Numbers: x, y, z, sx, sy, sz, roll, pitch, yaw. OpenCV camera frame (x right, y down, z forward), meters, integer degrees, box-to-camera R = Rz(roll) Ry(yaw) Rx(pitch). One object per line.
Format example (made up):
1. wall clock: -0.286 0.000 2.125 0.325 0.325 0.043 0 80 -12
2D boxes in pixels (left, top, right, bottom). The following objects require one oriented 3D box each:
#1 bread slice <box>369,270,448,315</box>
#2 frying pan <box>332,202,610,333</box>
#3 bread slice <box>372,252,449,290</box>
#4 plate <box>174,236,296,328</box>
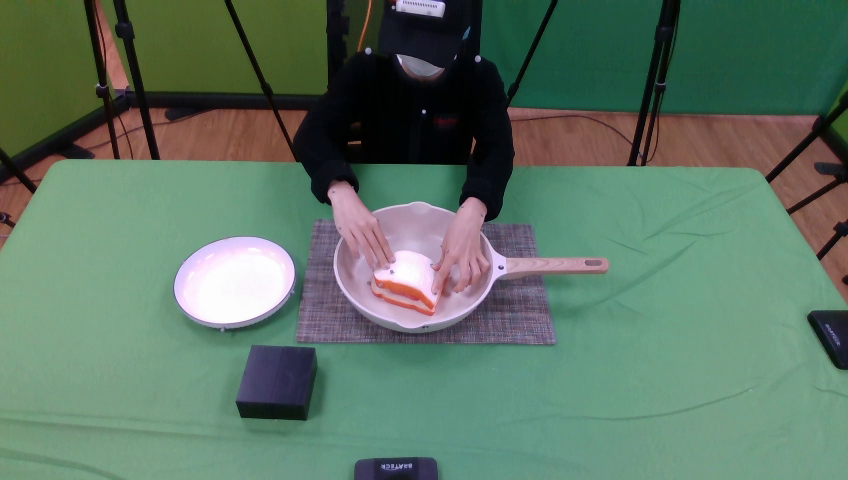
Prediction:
1. bread slice: -0.032 0.083 1.110 0.134 0.018 0.106 12 44 6
2. frying pan: 0.085 0.052 1.093 0.488 0.103 0.305 -1 46 6
3. bread slice: -0.026 0.054 1.072 0.131 0.019 0.104 -2 29 12
4. plate: -0.335 0.077 1.087 0.208 0.039 0.206 2 46 -2
